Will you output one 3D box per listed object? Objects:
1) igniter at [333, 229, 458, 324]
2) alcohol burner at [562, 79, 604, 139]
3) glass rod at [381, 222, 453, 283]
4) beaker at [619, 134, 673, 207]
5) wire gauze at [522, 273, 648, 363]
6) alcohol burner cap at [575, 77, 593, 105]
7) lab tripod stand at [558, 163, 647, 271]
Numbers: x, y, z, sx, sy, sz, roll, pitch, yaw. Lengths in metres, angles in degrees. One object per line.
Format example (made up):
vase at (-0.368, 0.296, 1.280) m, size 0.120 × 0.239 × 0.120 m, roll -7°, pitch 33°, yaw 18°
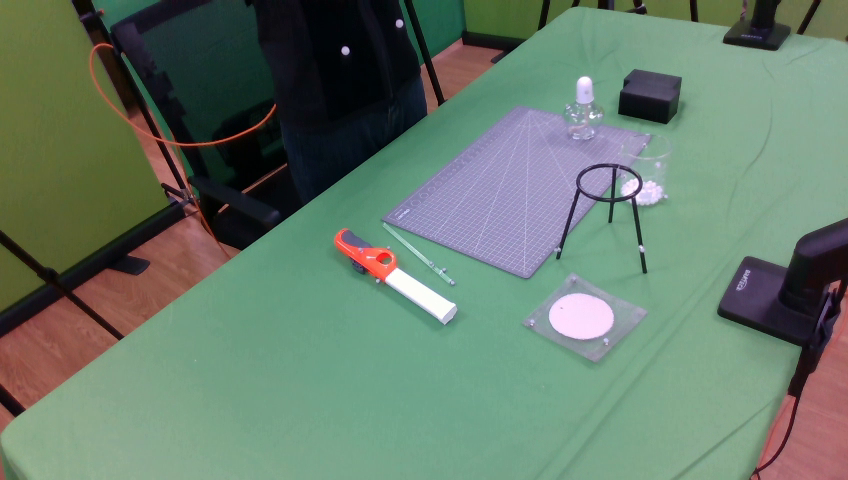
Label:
igniter at (-0.055, 0.049, 0.929) m, size 0.057 × 0.025 × 0.274 m, roll -42°, pitch 49°, yaw -20°
alcohol burner at (0.303, -0.253, 1.147) m, size 0.078 × 0.119 × 0.077 m, roll -4°, pitch 41°, yaw 4°
glass rod at (-0.014, 0.017, 0.976) m, size 0.008 × 0.008 × 0.198 m, roll -30°, pitch 44°, yaw -22°
beaker at (0.356, -0.111, 0.986) m, size 0.084 × 0.101 × 0.073 m, roll -10°, pitch 40°, yaw 1°
wire gauze at (0.220, 0.105, 0.828) m, size 0.125 × 0.011 × 0.120 m, roll -35°, pitch 47°, yaw -30°
alcohol burner cap at (0.297, -0.279, 1.123) m, size 0.034 × 0.048 × 0.033 m, roll -8°, pitch 41°, yaw 8°
lab tripod stand at (0.271, -0.034, 0.885) m, size 0.148 × 0.132 × 0.147 m, roll -4°, pitch 40°, yaw 4°
